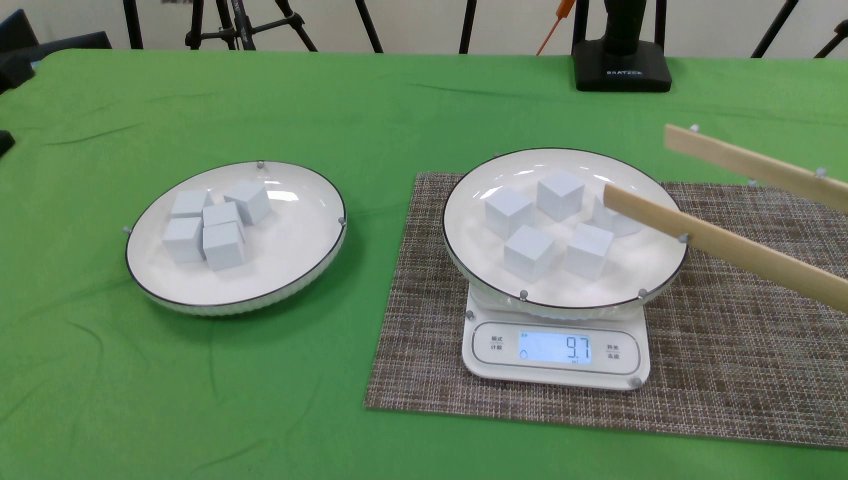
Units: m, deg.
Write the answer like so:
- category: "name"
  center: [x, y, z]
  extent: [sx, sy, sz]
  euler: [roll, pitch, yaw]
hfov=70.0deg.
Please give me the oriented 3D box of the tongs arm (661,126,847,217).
- category: "tongs arm"
  center: [0.311, 0.009, 0.372]
  extent: [0.381, 0.027, 0.050]
  euler: [31, 61, 36]

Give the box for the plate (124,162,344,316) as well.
- category: "plate"
  center: [-0.181, -0.002, 0.598]
  extent: [0.209, 0.038, 0.207]
  euler: [-1, 44, 2]

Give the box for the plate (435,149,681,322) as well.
- category: "plate"
  center: [0.114, -0.005, 0.536]
  extent: [0.208, 0.039, 0.205]
  euler: [-1, 44, 1]

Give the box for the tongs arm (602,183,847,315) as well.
- category: "tongs arm"
  center: [0.278, 0.038, 0.355]
  extent: [0.384, 0.028, 0.028]
  euler: [28, 56, 34]

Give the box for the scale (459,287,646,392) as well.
- category: "scale"
  center: [0.113, 0.038, 0.538]
  extent: [0.148, 0.032, 0.199]
  euler: [4, 45, 8]
